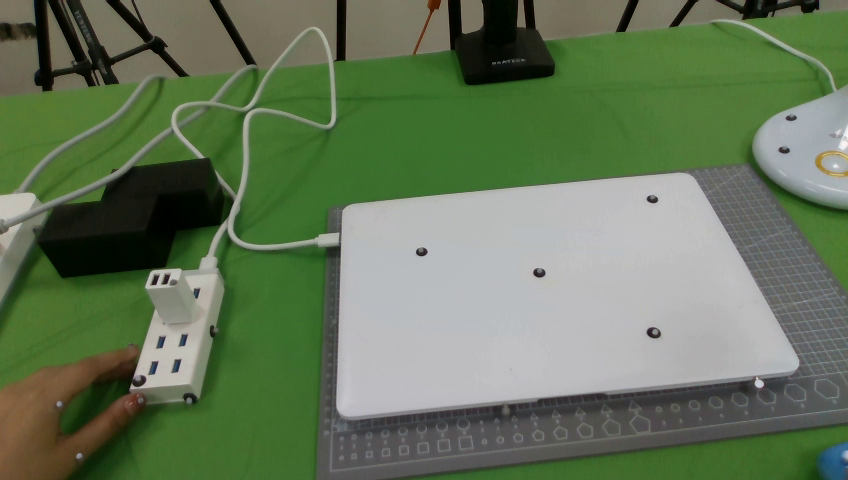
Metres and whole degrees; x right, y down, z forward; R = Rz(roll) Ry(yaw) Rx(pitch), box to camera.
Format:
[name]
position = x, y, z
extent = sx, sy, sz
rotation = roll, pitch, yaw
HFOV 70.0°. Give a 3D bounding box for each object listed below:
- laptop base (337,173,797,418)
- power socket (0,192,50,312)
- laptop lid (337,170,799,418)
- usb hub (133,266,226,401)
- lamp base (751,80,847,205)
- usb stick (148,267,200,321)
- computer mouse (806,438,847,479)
[laptop base]
position = 0.102, 0.037, 0.536
extent = 0.354, 0.023, 0.233
rotation = -5, 48, -1
[power socket]
position = -0.426, 0.032, 0.572
extent = 0.072, 0.033, 0.224
rotation = -5, 44, -2
[laptop lid]
position = 0.101, 0.030, 0.526
extent = 0.357, 0.013, 0.239
rotation = -4, 47, 0
[usb hub]
position = -0.205, 0.076, 0.517
extent = 0.049, 0.025, 0.124
rotation = -6, 45, 0
[lamp base]
position = 0.429, -0.153, 0.586
extent = 0.160, 0.182, 0.178
rotation = 17, 46, 20
[usb stick]
position = -0.204, 0.050, 0.502
extent = 0.027, 0.060, 0.021
rotation = -7, 44, 0
[computer mouse]
position = 0.294, 0.174, 0.372
extent = 0.063, 0.041, 0.116
rotation = -6, 42, -1
